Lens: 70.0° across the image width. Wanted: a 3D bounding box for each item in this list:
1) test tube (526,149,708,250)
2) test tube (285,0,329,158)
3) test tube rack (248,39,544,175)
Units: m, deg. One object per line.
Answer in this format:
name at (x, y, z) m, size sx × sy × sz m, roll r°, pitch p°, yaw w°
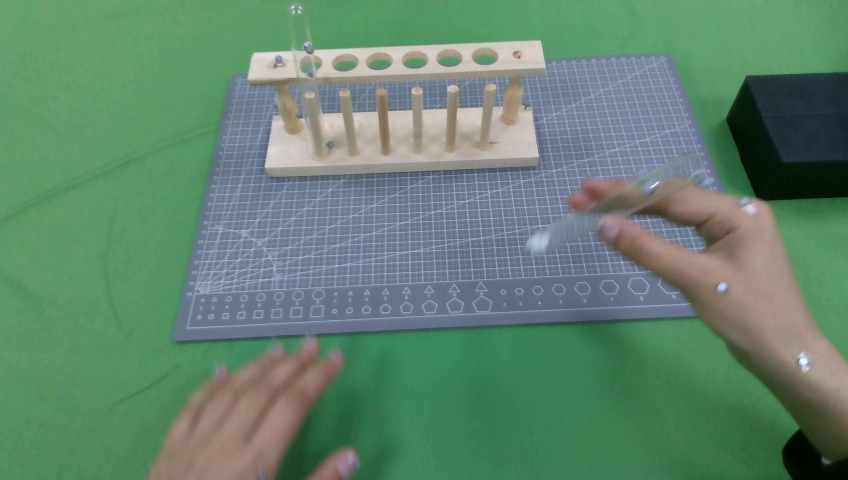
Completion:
test tube at (0.103, -0.018, 0.354) m, size 0.017 × 0.150 × 0.017 m, roll 6°, pitch 73°, yaw -21°
test tube at (-0.091, -0.121, 0.479) m, size 0.017 × 0.152 × 0.017 m, roll 1°, pitch 55°, yaw -1°
test tube rack at (-0.022, -0.114, 0.526) m, size 0.242 × 0.086 × 0.066 m, roll -2°, pitch 56°, yaw 1°
